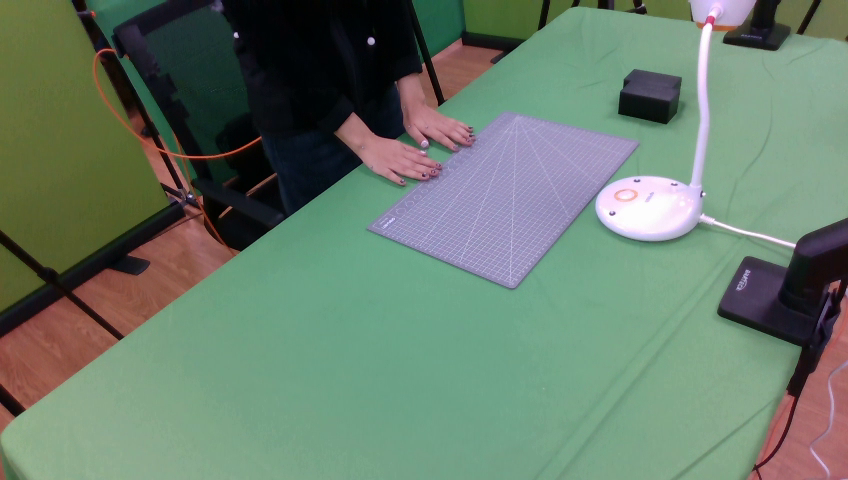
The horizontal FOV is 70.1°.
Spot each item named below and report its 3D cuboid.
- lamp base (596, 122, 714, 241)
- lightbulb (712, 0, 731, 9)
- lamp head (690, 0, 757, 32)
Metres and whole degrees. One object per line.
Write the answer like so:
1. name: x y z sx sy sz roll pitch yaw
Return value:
1. lamp base: 0.363 -0.110 0.921 0.178 0.181 0.160 13 45 21
2. lightbulb: 0.431 -0.387 0.863 0.059 0.108 0.059 -5 31 4
3. lamp head: 0.434 -0.363 0.870 0.112 0.123 0.112 1 28 0
